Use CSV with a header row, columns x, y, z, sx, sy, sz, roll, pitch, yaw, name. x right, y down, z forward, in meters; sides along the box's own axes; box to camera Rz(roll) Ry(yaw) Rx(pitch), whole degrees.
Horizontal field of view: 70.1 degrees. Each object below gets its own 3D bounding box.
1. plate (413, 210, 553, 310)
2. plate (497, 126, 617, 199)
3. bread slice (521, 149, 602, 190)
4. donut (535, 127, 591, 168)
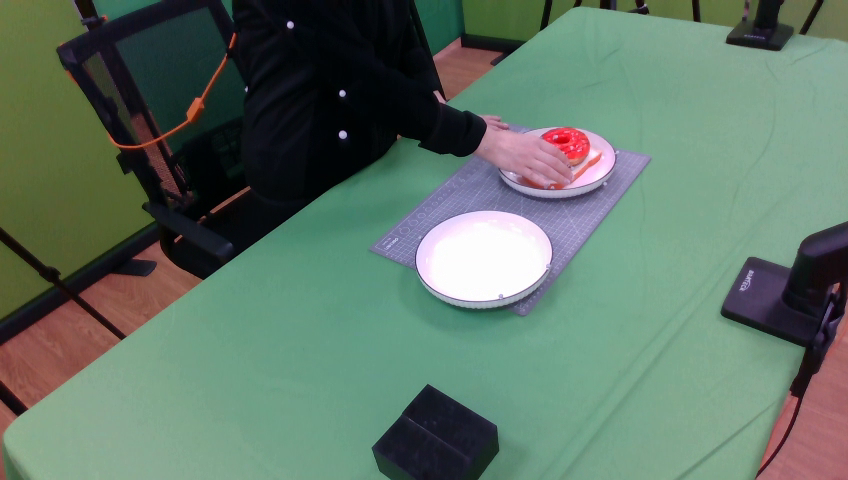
x,y,z,sx,sy,sz,roll,pitch,yaw,name
0.089,0.033,0.914,0.207,0.039,0.206,-5,40,5,plate
0.236,-0.136,1.085,0.209,0.038,0.208,-5,41,5,plate
0.242,-0.136,1.085,0.106,0.018,0.134,25,51,33,bread slice
0.248,-0.164,1.074,0.099,0.048,0.098,-6,39,6,donut
